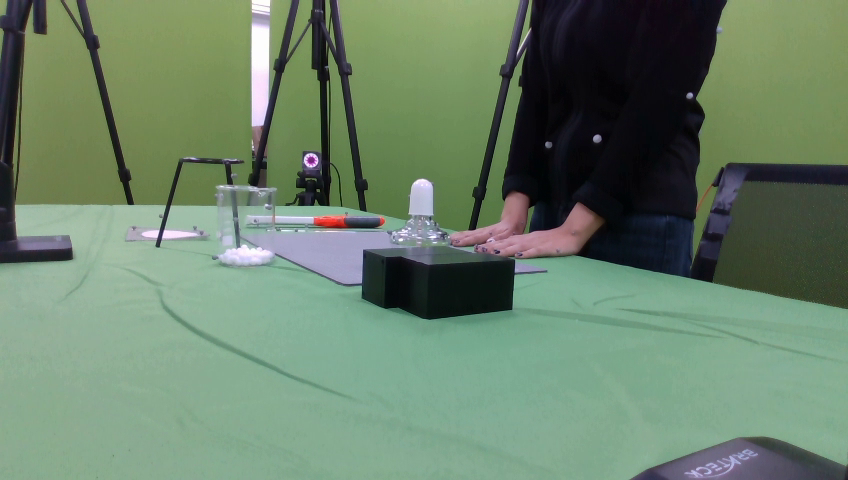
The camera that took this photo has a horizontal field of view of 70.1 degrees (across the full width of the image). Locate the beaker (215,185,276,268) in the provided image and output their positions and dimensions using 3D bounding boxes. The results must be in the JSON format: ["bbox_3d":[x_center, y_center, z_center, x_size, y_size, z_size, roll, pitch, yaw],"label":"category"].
[{"bbox_3d":[-0.226,-0.019,0.773,0.074,0.100,0.084,5,7,14],"label":"beaker"}]

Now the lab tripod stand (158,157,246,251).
[{"bbox_3d":[-0.314,-0.055,0.891,0.148,0.131,0.148,2,9,0],"label":"lab tripod stand"}]

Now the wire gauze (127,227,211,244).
[{"bbox_3d":[-0.420,-0.010,0.999,0.122,0.011,0.124,-2,10,-24],"label":"wire gauze"}]

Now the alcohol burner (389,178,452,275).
[{"bbox_3d":[-0.004,-0.017,0.749,0.078,0.119,0.078,1,9,0],"label":"alcohol burner"}]

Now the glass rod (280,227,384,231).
[{"bbox_3d":[-0.175,-0.021,1.162,0.200,0.008,0.008,1,7,-15],"label":"glass rod"}]

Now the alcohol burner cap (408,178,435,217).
[{"bbox_3d":[-0.002,-0.053,0.746,0.034,0.048,0.034,3,3,0],"label":"alcohol burner cap"}]

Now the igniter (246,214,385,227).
[{"bbox_3d":[-0.214,-0.040,1.216,0.278,0.025,0.057,0,-2,-23],"label":"igniter"}]
